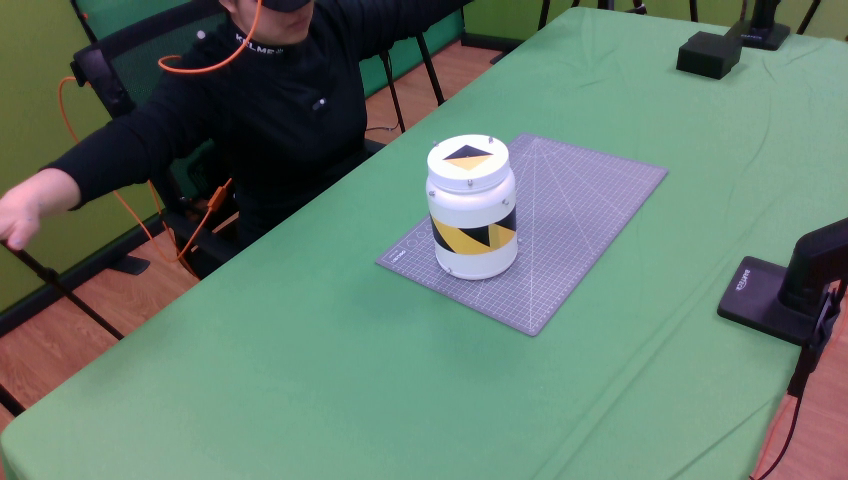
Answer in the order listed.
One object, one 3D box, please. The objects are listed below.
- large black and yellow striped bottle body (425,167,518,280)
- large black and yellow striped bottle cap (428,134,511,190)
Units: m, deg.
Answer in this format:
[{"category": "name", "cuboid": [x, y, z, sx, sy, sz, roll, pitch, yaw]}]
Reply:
[{"category": "large black and yellow striped bottle body", "cuboid": [0.072, -0.047, 0.894, 0.131, 0.185, 0.130, -5, 40, 5]}, {"category": "large black and yellow striped bottle cap", "cuboid": [0.062, -0.111, 0.840, 0.115, 0.019, 0.114, -5, 41, 5]}]
